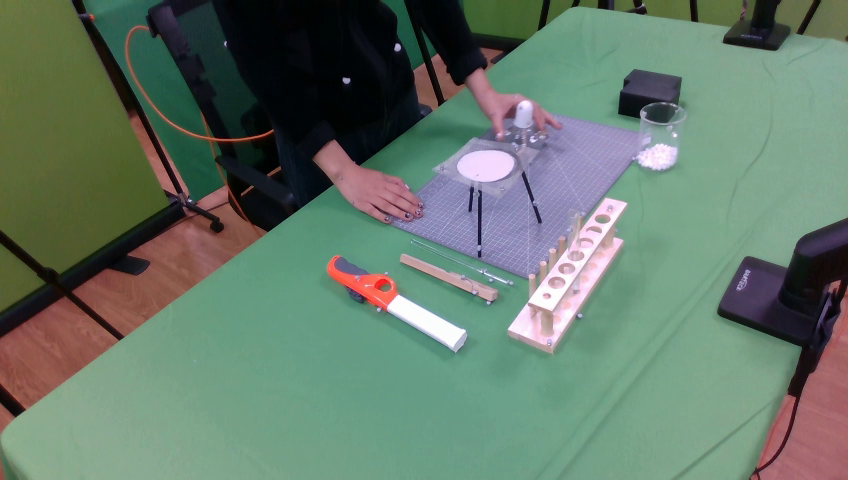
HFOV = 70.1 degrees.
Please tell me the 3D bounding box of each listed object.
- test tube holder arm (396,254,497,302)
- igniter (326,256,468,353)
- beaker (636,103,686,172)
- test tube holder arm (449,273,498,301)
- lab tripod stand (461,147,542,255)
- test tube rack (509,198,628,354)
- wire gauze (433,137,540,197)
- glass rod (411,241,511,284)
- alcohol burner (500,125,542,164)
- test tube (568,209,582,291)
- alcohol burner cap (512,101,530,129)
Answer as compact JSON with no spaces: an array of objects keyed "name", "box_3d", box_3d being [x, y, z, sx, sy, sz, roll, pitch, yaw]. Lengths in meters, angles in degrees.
[{"name":"test tube holder arm","box_3d":[0.030,0.055,0.912,0.177,0.015,0.013,21,10,29]},{"name":"igniter","box_3d":[-0.051,0.088,0.886,0.274,0.025,0.057,26,61,35]},{"name":"beaker","box_3d":[0.413,-0.177,1.055,0.084,0.101,0.073,-28,44,-21]},{"name":"test tube holder arm","box_3d":[0.070,0.069,0.894,0.087,0.015,0.010,21,10,31]},{"name":"lab tripod stand","box_3d":[0.114,-0.069,0.953,0.148,0.132,0.147,-5,38,4]},{"name":"test tube rack","box_3d":[0.206,0.039,0.850,0.066,0.085,0.243,20,48,31]},{"name":"wire gauze","box_3d":[0.094,-0.116,0.907,0.124,0.011,0.122,21,47,30]},{"name":"glass rod","box_3d":[0.053,0.034,0.947,0.198,0.008,0.008,22,50,36]},{"name":"alcohol burner","box_3d":[0.178,-0.200,1.110,0.078,0.119,0.077,-2,42,3]},{"name":"test tube","box_3d":[0.200,0.017,0.799,0.017,0.151,0.017,-8,45,8]},{"name":"alcohol burner cap","box_3d":[0.176,-0.226,1.085,0.034,0.048,0.033,-1,49,1]}]
